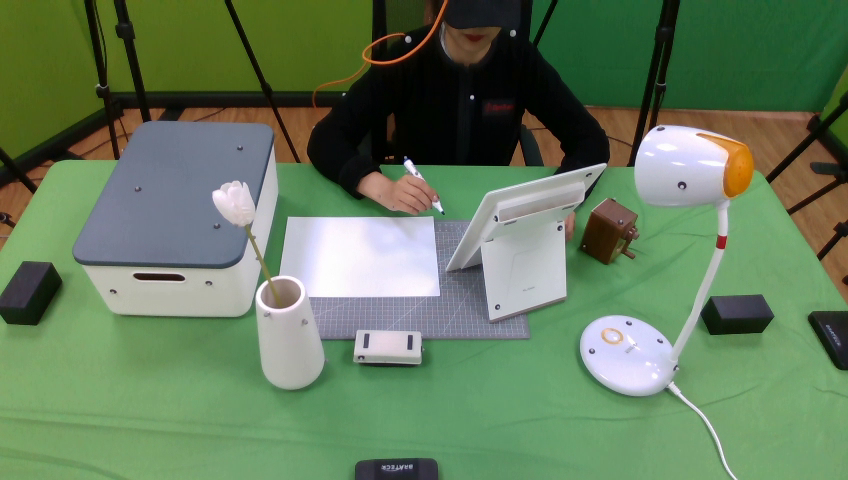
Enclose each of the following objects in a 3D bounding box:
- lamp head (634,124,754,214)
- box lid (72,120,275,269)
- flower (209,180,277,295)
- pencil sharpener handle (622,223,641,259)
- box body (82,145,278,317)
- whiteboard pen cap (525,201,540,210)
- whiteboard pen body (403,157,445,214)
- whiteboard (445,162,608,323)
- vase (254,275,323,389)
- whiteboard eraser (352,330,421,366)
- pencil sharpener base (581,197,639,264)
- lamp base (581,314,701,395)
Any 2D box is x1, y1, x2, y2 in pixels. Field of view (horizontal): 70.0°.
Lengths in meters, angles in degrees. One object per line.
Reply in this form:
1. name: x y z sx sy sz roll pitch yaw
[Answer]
1. lamp head: 0.351 -0.089 0.776 0.112 0.113 0.122 -30 30 -28
2. box lid: -0.417 -0.094 1.056 0.263 0.015 0.369 1 47 -3
3. flower: -0.217 0.075 0.871 0.044 0.363 0.038 -29 36 -19
4. pencil sharpener handle: 0.397 0.003 1.146 0.030 0.068 0.036 37 46 27
5. box body: -0.421 -0.041 1.108 0.254 0.161 0.361 2 46 -3
6. whiteboard pen cap: 0.230 -0.074 1.289 0.033 0.018 0.018 7 46 3
7. whiteboard pen body: 0.001 -0.106 1.182 0.017 0.017 0.140 -27 73 -26
8. whiteboard: 0.186 0.025 1.029 0.217 0.306 0.143 -14 68 -17
9. vase: -0.209 0.143 0.921 0.098 0.201 0.097 1 46 -1
10. whiteboard eraser: -0.061 0.180 1.005 0.113 0.042 0.055 3 48 -3
11. pencil sharpener base: 0.362 -0.017 1.179 0.076 0.107 0.061 37 54 27
12. lamp base: 0.361 0.144 0.973 0.178 0.181 0.160 34 53 23
